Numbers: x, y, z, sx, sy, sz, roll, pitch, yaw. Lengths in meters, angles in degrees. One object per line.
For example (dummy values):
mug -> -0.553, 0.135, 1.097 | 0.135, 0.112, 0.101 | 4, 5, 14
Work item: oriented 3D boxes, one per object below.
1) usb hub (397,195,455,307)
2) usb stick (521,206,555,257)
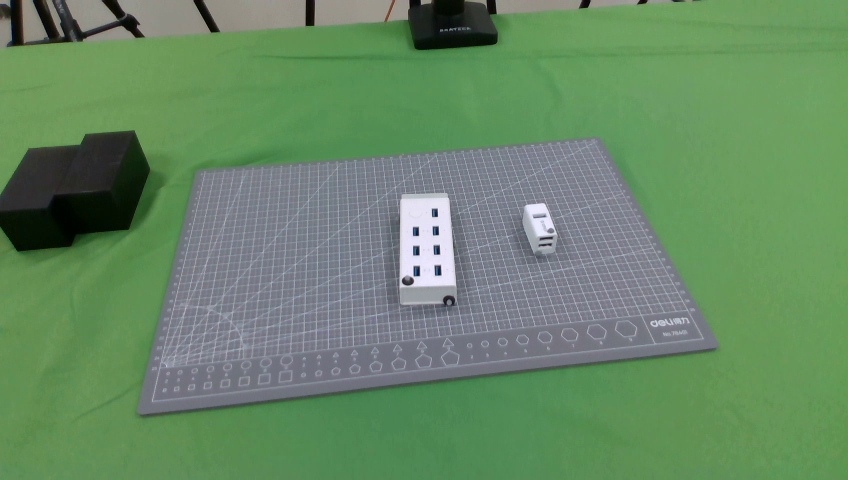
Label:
usb hub -> 0.000, 0.007, 0.553 | 0.049, 0.025, 0.124 | -2, 43, 0
usb stick -> 0.105, -0.013, 0.571 | 0.021, 0.027, 0.058 | -6, 41, -4
